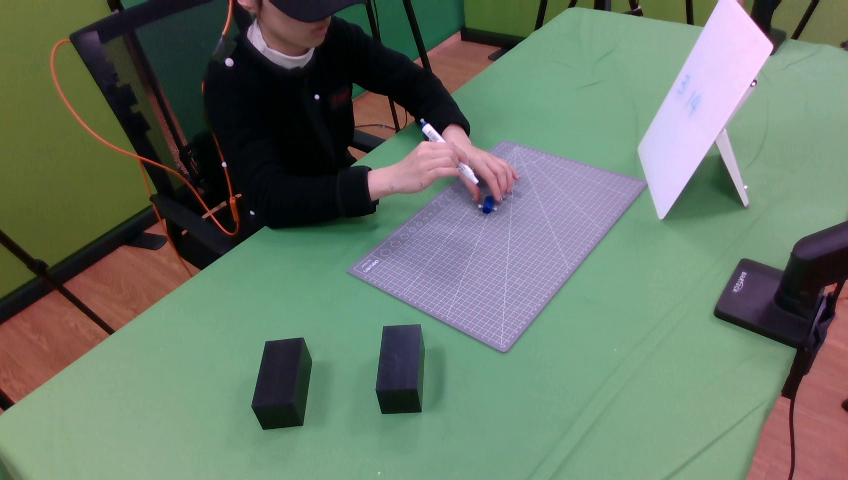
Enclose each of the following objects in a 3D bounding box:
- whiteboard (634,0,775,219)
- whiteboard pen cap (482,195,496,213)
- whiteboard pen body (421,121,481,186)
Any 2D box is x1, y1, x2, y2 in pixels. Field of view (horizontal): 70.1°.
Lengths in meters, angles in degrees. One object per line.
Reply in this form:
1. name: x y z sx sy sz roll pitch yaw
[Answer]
1. whiteboard: 0.485 -0.192 0.957 0.144 0.305 0.216 14 41 -4
2. whiteboard pen cap: 0.110 -0.060 1.027 0.018 0.018 0.033 9 47 18
3. whiteboard pen body: 0.044 -0.137 0.963 0.017 0.017 0.140 -36 78 -29
